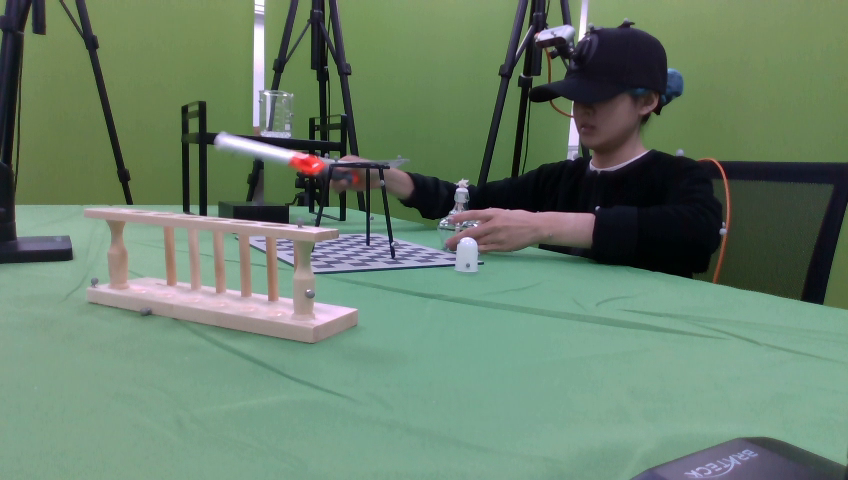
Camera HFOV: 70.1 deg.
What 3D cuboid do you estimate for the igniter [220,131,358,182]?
[{"bbox_3d":[-0.242,-0.151,1.126,0.278,0.025,0.057,12,35,-40],"label":"igniter"}]

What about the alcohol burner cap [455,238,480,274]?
[{"bbox_3d":[0.058,0.022,0.798,0.034,0.048,0.034,3,6,0],"label":"alcohol burner cap"}]

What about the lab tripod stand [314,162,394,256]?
[{"bbox_3d":[-0.098,-0.048,0.897,0.148,0.131,0.148,1,6,0],"label":"lab tripod stand"}]

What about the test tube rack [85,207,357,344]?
[{"bbox_3d":[-0.177,0.022,0.518,0.241,0.085,0.067,6,7,23],"label":"test tube rack"}]

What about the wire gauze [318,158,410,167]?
[{"bbox_3d":[-0.090,-0.114,0.888,0.122,0.011,0.124,0,6,-15],"label":"wire gauze"}]

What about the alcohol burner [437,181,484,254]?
[{"bbox_3d":[0.060,-0.037,0.981,0.078,0.119,0.078,4,9,0],"label":"alcohol burner"}]

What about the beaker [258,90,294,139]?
[{"bbox_3d":[-0.324,-0.274,1.331,0.083,0.100,0.074,7,9,24],"label":"beaker"}]
